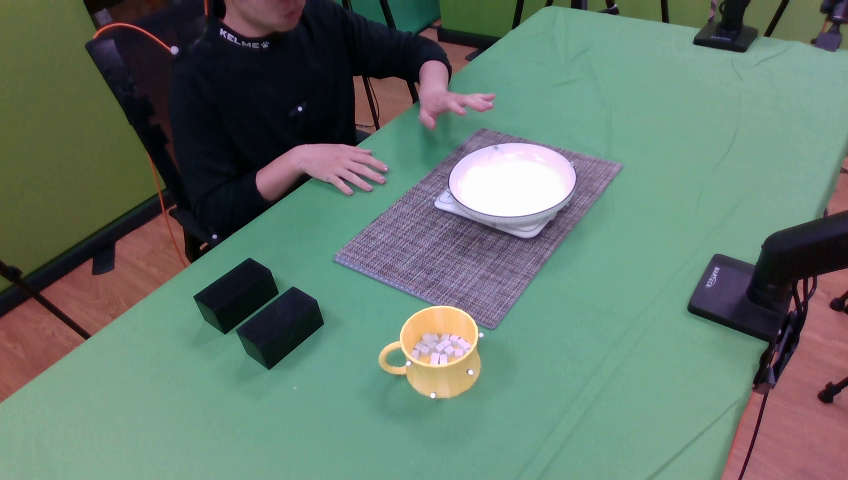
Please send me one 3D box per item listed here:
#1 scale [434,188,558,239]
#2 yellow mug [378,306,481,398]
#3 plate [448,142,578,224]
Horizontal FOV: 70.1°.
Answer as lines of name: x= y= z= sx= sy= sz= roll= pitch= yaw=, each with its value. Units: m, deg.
scale: x=0.132 y=-0.075 z=1.024 sx=0.199 sy=0.032 sz=0.149 roll=22 pitch=48 yaw=30
yellow mug: x=0.006 y=0.144 z=0.767 sx=0.131 sy=0.064 sz=0.099 roll=-10 pitch=40 yaw=-2
plate: x=0.145 y=-0.089 z=0.989 sx=0.209 sy=0.038 sz=0.208 roll=-4 pitch=41 yaw=4
